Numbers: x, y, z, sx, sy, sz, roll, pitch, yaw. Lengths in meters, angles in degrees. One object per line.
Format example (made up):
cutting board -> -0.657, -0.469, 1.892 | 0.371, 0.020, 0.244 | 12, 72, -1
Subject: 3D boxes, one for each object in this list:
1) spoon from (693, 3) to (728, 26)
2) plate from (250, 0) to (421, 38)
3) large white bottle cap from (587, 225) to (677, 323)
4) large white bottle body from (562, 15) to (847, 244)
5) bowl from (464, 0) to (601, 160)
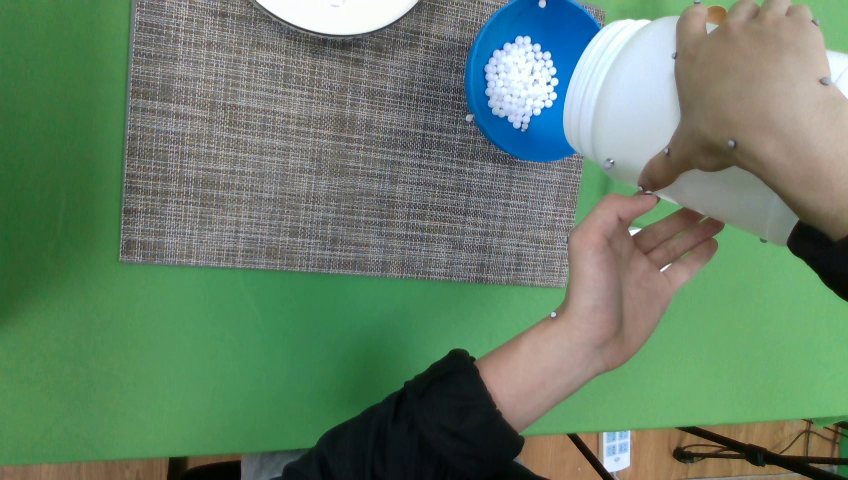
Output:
spoon -> 0.265, -0.149, 0.631 | 0.042, 0.021, 0.194 | 17, 98, -24
plate -> -0.084, -0.280, 0.529 | 0.210, 0.038, 0.209 | -2, 96, -19
large white bottle cap -> 0.242, 0.040, 0.703 | 0.115, 0.018, 0.115 | -3, 100, -19
large white bottle body -> 0.208, -0.089, 0.447 | 0.131, 0.183, 0.131 | -29, 135, -34
bowl -> 0.099, -0.153, 0.588 | 0.152, 0.076, 0.151 | -3, 99, -18
